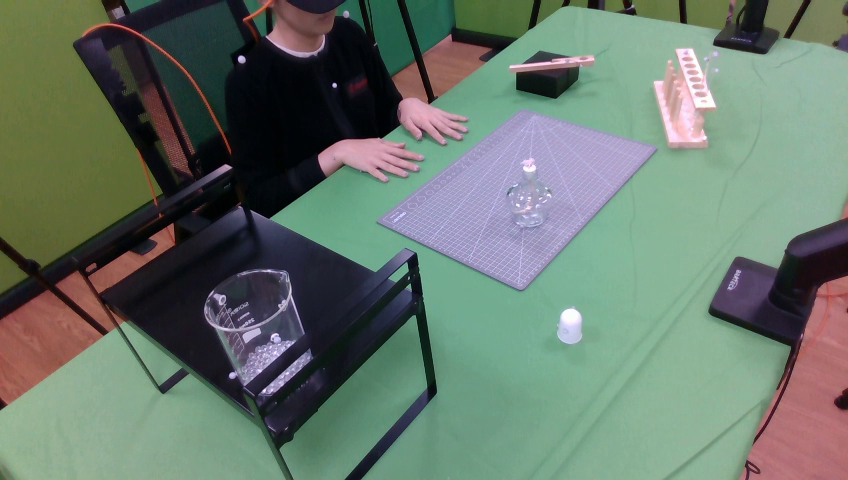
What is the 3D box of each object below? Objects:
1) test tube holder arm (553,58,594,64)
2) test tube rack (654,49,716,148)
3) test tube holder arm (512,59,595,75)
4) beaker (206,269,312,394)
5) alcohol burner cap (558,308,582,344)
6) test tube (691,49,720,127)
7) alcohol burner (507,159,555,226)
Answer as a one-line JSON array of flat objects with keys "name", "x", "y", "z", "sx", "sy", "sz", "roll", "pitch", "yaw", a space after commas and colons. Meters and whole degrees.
[{"name": "test tube holder arm", "x": 0.321, "y": -0.380, "z": 1.299, "sx": 0.088, "sy": 0.015, "sz": 0.010, "roll": -5, "pitch": 38, "yaw": 1}, {"name": "test tube rack", "x": 0.502, "y": -0.281, "z": 1.176, "sx": 0.066, "sy": 0.085, "sz": 0.241, "roll": 2, "pitch": 41, "yaw": 11}, {"name": "test tube holder arm", "x": 0.276, "y": -0.371, "z": 1.294, "sx": 0.179, "sy": 0.015, "sz": 0.013, "roll": -8, "pitch": 38, "yaw": -2}, {"name": "beaker", "x": -0.146, "y": 0.086, "z": 0.560, "sx": 0.073, "sy": 0.101, "sz": 0.084, "roll": 19, "pitch": 46, "yaw": 27}, {"name": "alcohol burner cap", "x": 0.194, "y": 0.111, "z": 0.802, "sx": 0.034, "sy": 0.048, "sz": 0.033, "roll": -4, "pitch": 39, "yaw": 4}, {"name": "test tube", "x": 0.505, "y": -0.270, "z": 1.087, "sx": 0.017, "sy": 0.151, "sz": 0.017, "roll": -2, "pitch": 41, "yaw": 2}, {"name": "alcohol burner", "x": 0.172, "y": -0.081, "z": 0.969, "sx": 0.078, "sy": 0.119, "sz": 0.077, "roll": -4, "pitch": 42, "yaw": 4}]
